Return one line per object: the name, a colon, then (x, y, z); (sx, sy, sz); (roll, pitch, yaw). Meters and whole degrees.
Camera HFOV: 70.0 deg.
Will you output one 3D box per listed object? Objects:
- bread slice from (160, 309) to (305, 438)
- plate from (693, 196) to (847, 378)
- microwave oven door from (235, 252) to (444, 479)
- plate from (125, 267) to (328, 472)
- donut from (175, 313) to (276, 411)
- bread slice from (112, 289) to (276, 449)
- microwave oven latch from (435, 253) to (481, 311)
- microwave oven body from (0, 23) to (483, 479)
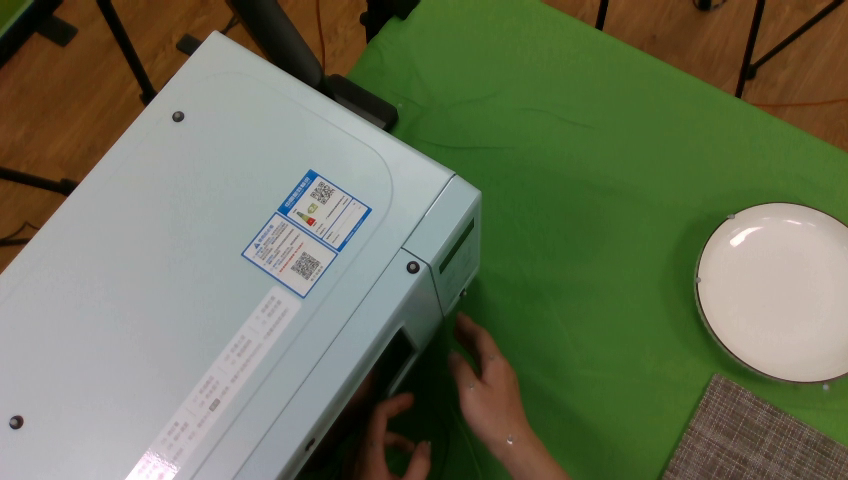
bread slice: (-0.210, 0.147, 0.652); (0.131, 0.019, 0.104); (-34, 75, -28)
plate: (0.409, 0.052, 0.688); (0.207, 0.039, 0.206); (-1, 73, 4)
microwave oven door: (-0.100, 0.186, 0.558); (0.039, 0.245, 0.355); (32, 78, 14)
plate: (-0.203, 0.132, 0.638); (0.209, 0.038, 0.208); (0, 75, 1)
donut: (-0.199, 0.123, 0.611); (0.099, 0.048, 0.098); (3, 71, -8)
bread slice: (-0.214, 0.114, 0.587); (0.107, 0.018, 0.134); (43, 72, 5)
microwave oven latch: (0.035, 0.042, 0.699); (0.030, 0.030, 0.079); (36, 79, 14)
microwave oven body: (-0.195, 0.078, 0.604); (0.324, 0.262, 0.441); (33, 79, 13)
